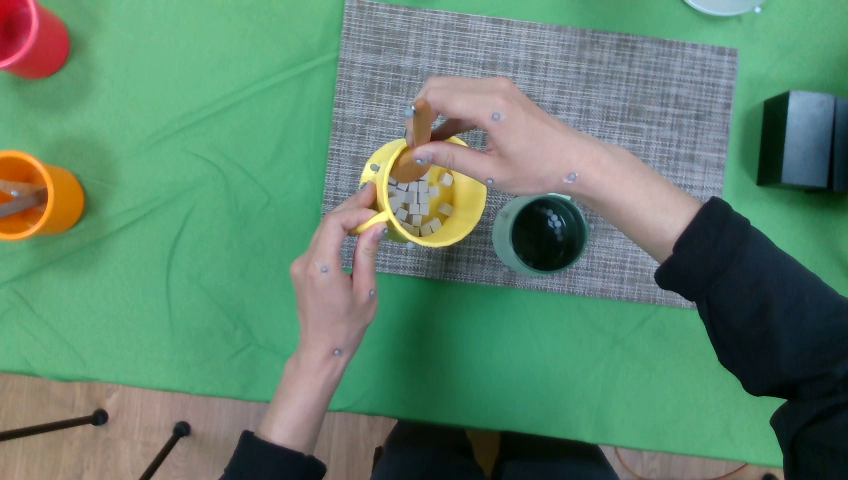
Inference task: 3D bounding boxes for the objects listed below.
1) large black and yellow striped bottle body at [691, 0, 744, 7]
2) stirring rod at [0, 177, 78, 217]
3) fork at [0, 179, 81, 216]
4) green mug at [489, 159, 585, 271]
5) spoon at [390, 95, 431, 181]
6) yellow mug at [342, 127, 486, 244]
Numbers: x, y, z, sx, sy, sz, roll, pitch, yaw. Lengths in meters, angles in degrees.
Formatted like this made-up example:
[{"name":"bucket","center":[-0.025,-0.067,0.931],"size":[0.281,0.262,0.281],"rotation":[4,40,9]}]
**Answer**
[{"name":"large black and yellow striped bottle body","center":[0.329,-0.326,0.598],"size":[0.131,0.184,0.130],"rotation":[0,91,0]},{"name":"stirring rod","center":[-0.445,-0.028,0.623],"size":[0.176,0.006,0.014],"rotation":[-35,93,-42]},{"name":"fork","center":[-0.462,-0.067,0.616],"size":[0.209,0.018,0.028],"rotation":[24,87,-44]},{"name":"green mug","center":[0.125,-0.027,0.640],"size":[0.092,0.105,0.125],"rotation":[23,91,0]},{"name":"spoon","center":[-0.005,-0.074,0.466],"size":[0.041,0.193,0.021],"rotation":[-27,89,-7]},{"name":"yellow mug","center":[-0.015,-0.041,0.544],"size":[0.131,0.063,0.100],"rotation":[-31,105,-19]}]
